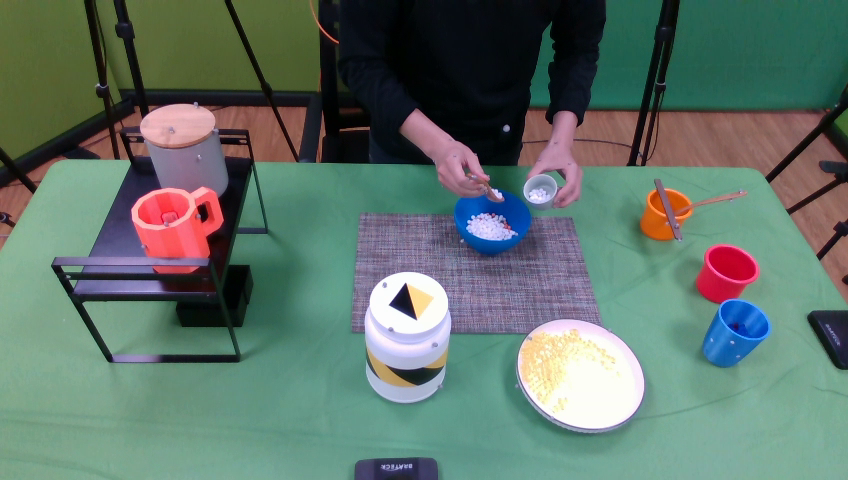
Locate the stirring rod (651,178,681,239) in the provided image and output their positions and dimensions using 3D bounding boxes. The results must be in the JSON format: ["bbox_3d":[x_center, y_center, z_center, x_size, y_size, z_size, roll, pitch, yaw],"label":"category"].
[{"bbox_3d":[0.480,-0.065,1.204,0.014,0.006,0.175,3,46,-3],"label":"stirring rod"}]

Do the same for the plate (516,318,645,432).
[{"bbox_3d":[0.253,0.221,0.993,0.209,0.038,0.208,2,46,-2],"label":"plate"}]

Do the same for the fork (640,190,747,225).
[{"bbox_3d":[0.533,-0.065,1.211,0.207,0.019,0.028,-22,28,39],"label":"fork"}]

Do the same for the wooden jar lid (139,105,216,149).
[{"bbox_3d":[-0.372,-0.169,0.920,0.108,0.021,0.107,4,43,-4],"label":"wooden jar lid"}]

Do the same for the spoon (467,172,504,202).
[{"bbox_3d":[0.104,-0.094,1.047,0.041,0.194,0.021,33,92,21],"label":"spoon"}]

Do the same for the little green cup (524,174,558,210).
[{"bbox_3d":[0.218,-0.087,1.120,0.061,0.039,0.061,-7,65,16],"label":"little green cup"}]

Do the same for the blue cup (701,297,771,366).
[{"bbox_3d":[0.519,0.162,1.025,0.093,0.101,0.092,3,45,-3],"label":"blue cup"}]

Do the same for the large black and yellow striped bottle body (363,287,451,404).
[{"bbox_3d":[-0.027,0.153,0.935,0.131,0.185,0.130,2,46,-2],"label":"large black and yellow striped bottle body"}]

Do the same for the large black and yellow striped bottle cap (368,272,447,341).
[{"bbox_3d":[-0.023,0.093,0.875,0.115,0.019,0.114,3,46,-3],"label":"large black and yellow striped bottle cap"}]

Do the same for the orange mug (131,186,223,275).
[{"bbox_3d":[-0.354,-0.022,0.888,0.083,0.101,0.126,31,56,24],"label":"orange mug"}]

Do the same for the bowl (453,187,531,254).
[{"bbox_3d":[0.128,-0.025,1.187,0.151,0.077,0.150,2,45,-2],"label":"bowl"}]

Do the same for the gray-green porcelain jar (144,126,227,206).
[{"bbox_3d":[-0.375,-0.126,0.967,0.106,0.127,0.105,2,46,-2],"label":"gray-green porcelain jar"}]
